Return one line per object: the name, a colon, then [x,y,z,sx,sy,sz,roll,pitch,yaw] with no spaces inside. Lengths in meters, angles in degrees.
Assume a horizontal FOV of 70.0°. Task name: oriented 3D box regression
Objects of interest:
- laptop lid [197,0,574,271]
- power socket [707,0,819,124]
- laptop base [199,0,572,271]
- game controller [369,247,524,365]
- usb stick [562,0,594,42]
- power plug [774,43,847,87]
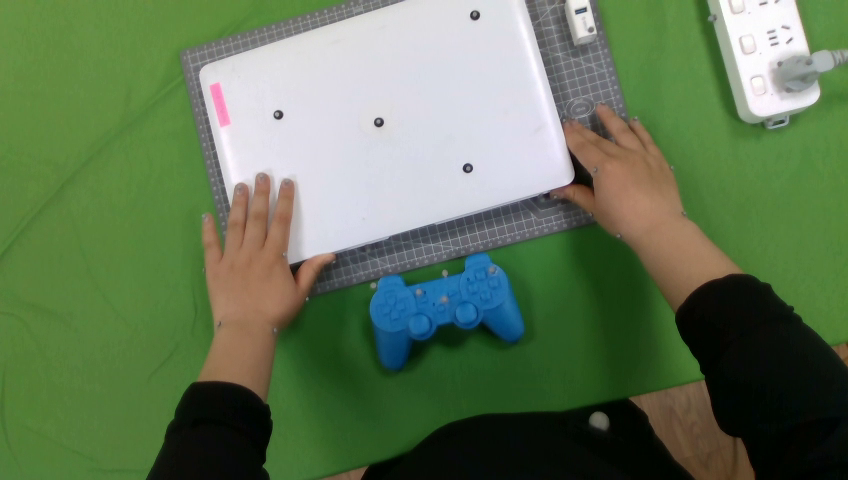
laptop lid: [-0.047,-0.124,0.625,0.356,0.013,0.241,-15,85,5]
power socket: [0.329,-0.230,0.606,0.072,0.032,0.226,-14,87,6]
laptop base: [-0.045,-0.125,0.644,0.354,0.023,0.235,-16,90,4]
game controller: [0.019,0.067,0.619,0.155,0.052,0.097,-14,83,4]
usb stick: [0.156,-0.238,0.623,0.021,0.027,0.059,-15,85,8]
power plug: [0.374,-0.166,0.580,0.072,0.053,0.035,-2,87,1]
